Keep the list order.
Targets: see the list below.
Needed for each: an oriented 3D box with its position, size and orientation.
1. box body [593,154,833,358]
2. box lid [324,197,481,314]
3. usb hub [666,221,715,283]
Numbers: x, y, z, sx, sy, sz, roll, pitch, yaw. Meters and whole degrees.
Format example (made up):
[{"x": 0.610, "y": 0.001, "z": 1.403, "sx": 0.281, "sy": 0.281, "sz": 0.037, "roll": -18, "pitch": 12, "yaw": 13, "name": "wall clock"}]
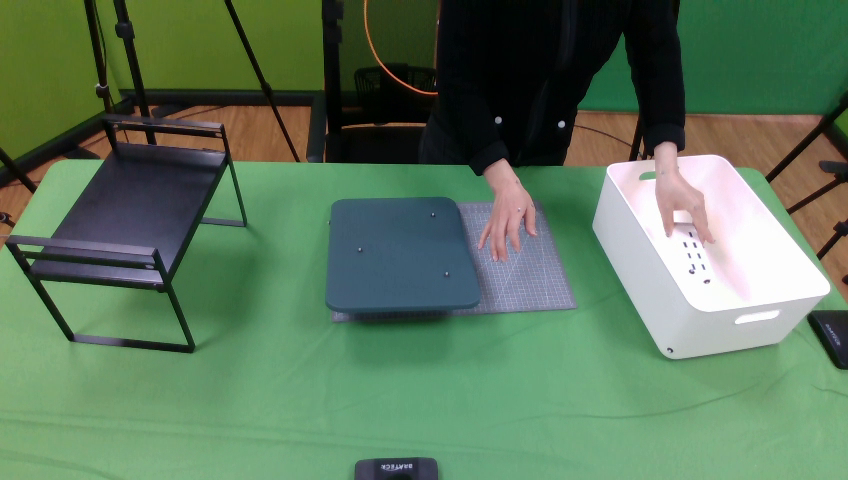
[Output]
[{"x": 0.497, "y": 0.023, "z": 1.112, "sx": 0.254, "sy": 0.161, "sz": 0.361, "roll": -7, "pitch": 47, "yaw": -10, "name": "box body"}, {"x": -0.048, "y": 0.013, "z": 1.132, "sx": 0.263, "sy": 0.015, "sz": 0.369, "roll": -1, "pitch": 33, "yaw": -6, "name": "box lid"}, {"x": 0.481, "y": 0.020, "z": 1.101, "sx": 0.049, "sy": 0.025, "sz": 0.124, "roll": 1, "pitch": 50, "yaw": -3, "name": "usb hub"}]
